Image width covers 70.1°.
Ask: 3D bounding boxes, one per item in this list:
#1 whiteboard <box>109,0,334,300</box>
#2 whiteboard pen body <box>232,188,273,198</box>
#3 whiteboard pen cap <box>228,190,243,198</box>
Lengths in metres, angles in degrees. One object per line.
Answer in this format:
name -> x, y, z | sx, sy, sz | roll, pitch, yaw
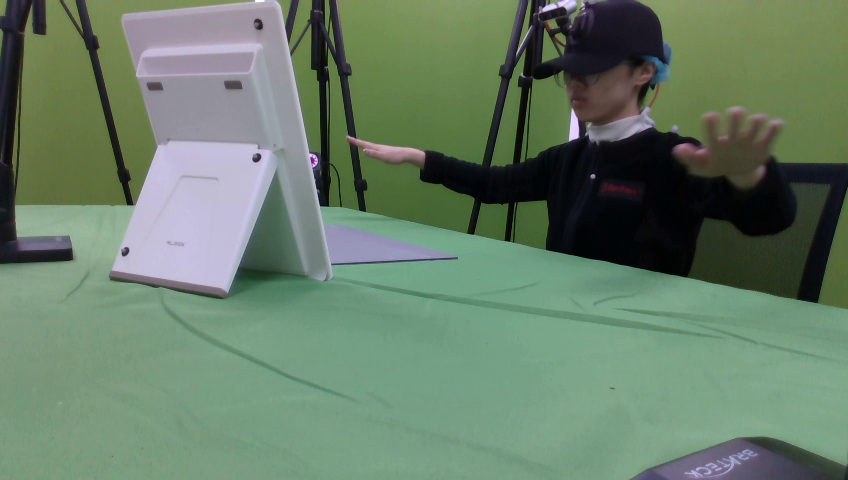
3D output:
whiteboard -> -0.247, -0.072, 0.624 | 0.216, 0.305, 0.144 | 6, 28, 26
whiteboard pen body -> -0.370, -0.101, 1.303 | 0.017, 0.017, 0.141 | 4, 8, 18
whiteboard pen cap -> -0.388, -0.096, 1.248 | 0.018, 0.018, 0.033 | 4, 8, 18
